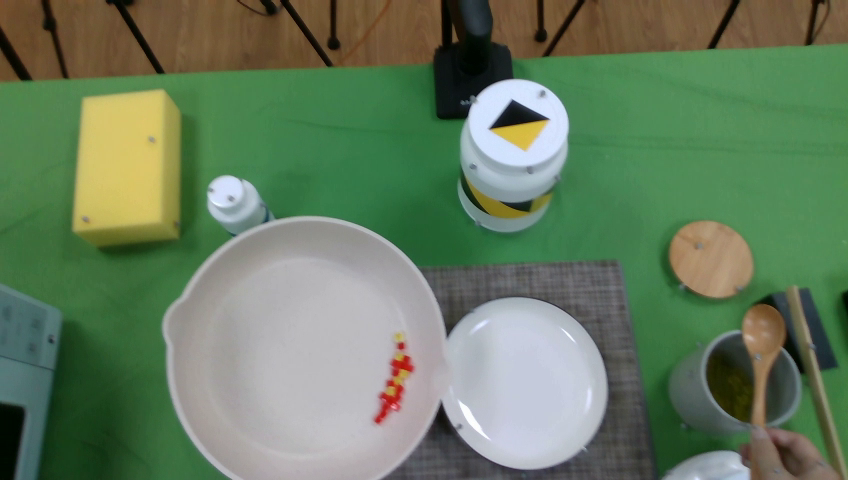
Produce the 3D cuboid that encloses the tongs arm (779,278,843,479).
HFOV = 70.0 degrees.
[{"bbox_3d":[0.480,0.230,0.698,0.051,0.026,0.383,-7,81,-4],"label":"tongs arm"}]

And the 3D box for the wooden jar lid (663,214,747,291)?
[{"bbox_3d":[0.375,0.018,0.814,0.108,0.021,0.107,0,72,1],"label":"wooden jar lid"}]

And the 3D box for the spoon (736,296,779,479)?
[{"bbox_3d":[0.340,0.152,0.628,0.041,0.022,0.192,2,66,33],"label":"spoon"}]

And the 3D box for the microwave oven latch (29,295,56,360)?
[{"bbox_3d":[-0.489,0.110,0.763,0.030,0.030,0.078,-1,71,0],"label":"microwave oven latch"}]

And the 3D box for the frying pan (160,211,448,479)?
[{"bbox_3d":[-0.139,0.209,0.621,0.308,0.103,0.484,16,65,-17],"label":"frying pan"}]

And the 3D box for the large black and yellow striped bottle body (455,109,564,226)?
[{"bbox_3d":[0.106,-0.109,0.776,0.131,0.185,0.130,0,70,1],"label":"large black and yellow striped bottle body"}]

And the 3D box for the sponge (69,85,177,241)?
[{"bbox_3d":[-0.416,-0.109,0.847,0.118,0.061,0.205,-7,71,-2],"label":"sponge"}]

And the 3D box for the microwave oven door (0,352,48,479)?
[{"bbox_3d":[-0.487,0.281,0.595,0.039,0.245,0.353,-2,70,1],"label":"microwave oven door"}]

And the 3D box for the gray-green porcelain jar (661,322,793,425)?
[{"bbox_3d":[0.344,0.160,0.707,0.106,0.127,0.105,0,70,1],"label":"gray-green porcelain jar"}]

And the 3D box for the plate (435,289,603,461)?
[{"bbox_3d":[0.114,0.165,0.752,0.209,0.038,0.207,0,71,1],"label":"plate"}]

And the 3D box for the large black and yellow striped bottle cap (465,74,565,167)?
[{"bbox_3d":[0.105,-0.139,0.697,0.115,0.019,0.114,0,72,1],"label":"large black and yellow striped bottle cap"}]

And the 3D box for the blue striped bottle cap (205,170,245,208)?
[{"bbox_3d":[-0.244,-0.063,0.743,0.044,0.021,0.044,0,72,1],"label":"blue striped bottle cap"}]

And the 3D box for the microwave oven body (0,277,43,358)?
[{"bbox_3d":[-0.634,0.248,0.614,0.326,0.262,0.438,-2,71,0],"label":"microwave oven body"}]

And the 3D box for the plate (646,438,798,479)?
[{"bbox_3d":[0.344,0.335,0.692,0.208,0.039,0.206,0,70,1],"label":"plate"}]

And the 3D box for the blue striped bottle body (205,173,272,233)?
[{"bbox_3d":[-0.243,-0.044,0.791,0.063,0.121,0.062,0,70,1],"label":"blue striped bottle body"}]
